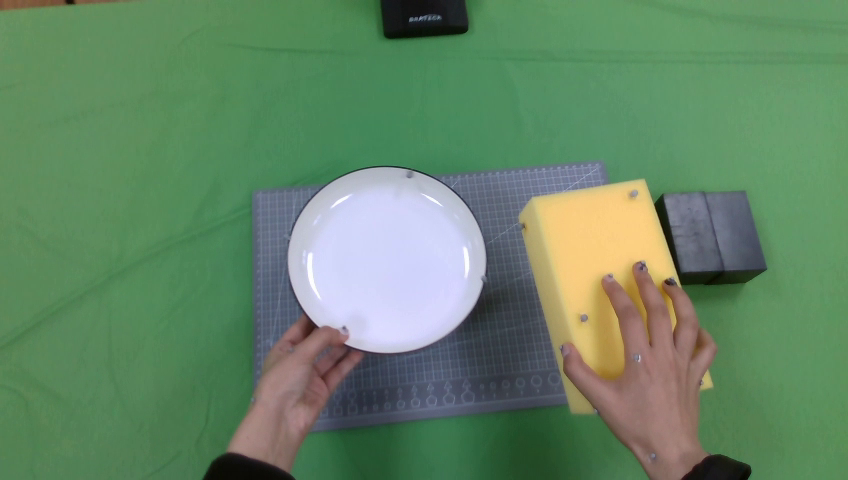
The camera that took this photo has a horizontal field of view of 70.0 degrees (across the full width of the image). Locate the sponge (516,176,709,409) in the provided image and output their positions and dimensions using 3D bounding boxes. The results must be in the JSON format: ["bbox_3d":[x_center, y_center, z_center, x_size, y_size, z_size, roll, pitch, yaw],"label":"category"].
[{"bbox_3d":[0.177,0.050,0.589,0.118,0.061,0.205,-11,75,-9],"label":"sponge"}]

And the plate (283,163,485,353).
[{"bbox_3d":[-0.041,0.019,0.640,0.209,0.038,0.207,2,70,-5],"label":"plate"}]
